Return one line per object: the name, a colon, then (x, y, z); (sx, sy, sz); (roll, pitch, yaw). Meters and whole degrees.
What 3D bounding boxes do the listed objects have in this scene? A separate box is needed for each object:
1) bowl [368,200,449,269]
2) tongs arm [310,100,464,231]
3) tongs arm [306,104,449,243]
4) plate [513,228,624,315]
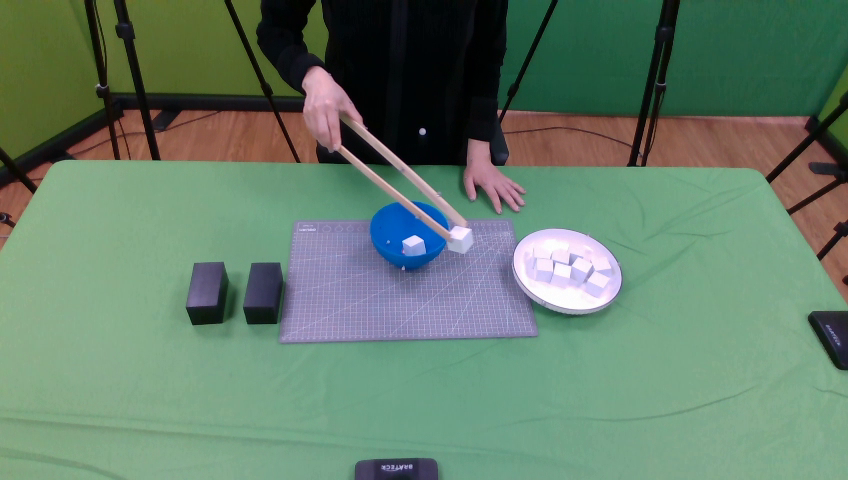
bowl: (-0.031, 0.002, 1.151); (0.151, 0.077, 0.150); (2, 46, -2)
tongs arm: (-0.074, -0.136, 1.073); (0.051, 0.026, 0.383); (-35, 64, -21)
tongs arm: (-0.092, -0.122, 1.063); (0.028, 0.028, 0.386); (-40, 67, -19)
plate: (0.268, 0.063, 1.146); (0.208, 0.039, 0.206); (3, 46, -3)
